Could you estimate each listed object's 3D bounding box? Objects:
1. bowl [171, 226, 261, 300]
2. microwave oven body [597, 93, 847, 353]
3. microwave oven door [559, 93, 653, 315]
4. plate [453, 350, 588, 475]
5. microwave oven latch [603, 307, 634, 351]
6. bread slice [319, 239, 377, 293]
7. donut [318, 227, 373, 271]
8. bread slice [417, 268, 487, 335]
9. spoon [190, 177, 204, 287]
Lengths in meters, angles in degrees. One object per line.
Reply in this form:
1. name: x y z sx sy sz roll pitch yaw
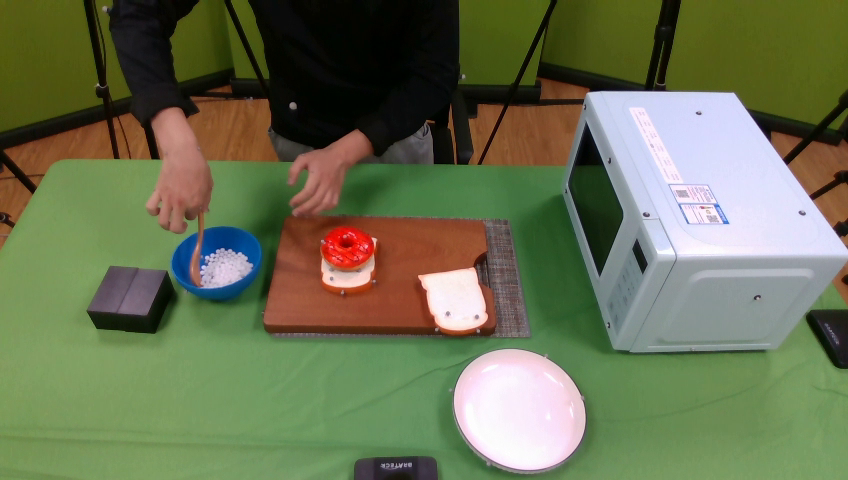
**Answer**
1. bowl: -0.363 0.054 1.081 0.151 0.077 0.150 3 45 -3
2. microwave oven body: 0.475 -0.041 1.109 0.326 0.261 0.438 -1 45 -4
3. microwave oven door: 0.327 -0.074 1.123 0.039 0.245 0.353 -1 46 -5
4. plate: 0.147 0.267 0.943 0.208 0.039 0.206 2 45 -2
5. microwave oven latch: 0.332 0.153 1.044 0.030 0.029 0.078 0 45 -4
6. bread slice: -0.140 0.044 1.111 0.105 0.019 0.130 0 44 -3
7. donut: -0.141 0.017 1.096 0.099 0.048 0.098 2 44 -2
8. bread slice: 0.055 0.107 1.063 0.107 0.018 0.133 -9 48 -12
9. spoon: -0.390 -0.012 1.050 0.021 0.041 0.193 3 90 -5
